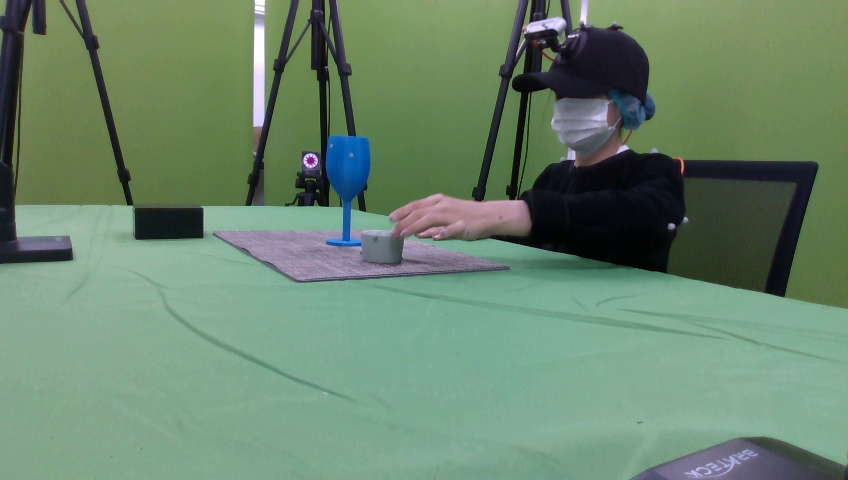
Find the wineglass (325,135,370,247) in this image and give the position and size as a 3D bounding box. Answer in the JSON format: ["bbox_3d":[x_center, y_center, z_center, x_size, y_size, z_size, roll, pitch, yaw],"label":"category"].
[{"bbox_3d":[-0.123,-0.078,0.964,0.074,0.172,0.073,3,7,0],"label":"wineglass"}]

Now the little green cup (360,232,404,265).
[{"bbox_3d":[-0.057,0.011,0.822,0.061,0.038,0.061,2,8,0],"label":"little green cup"}]
